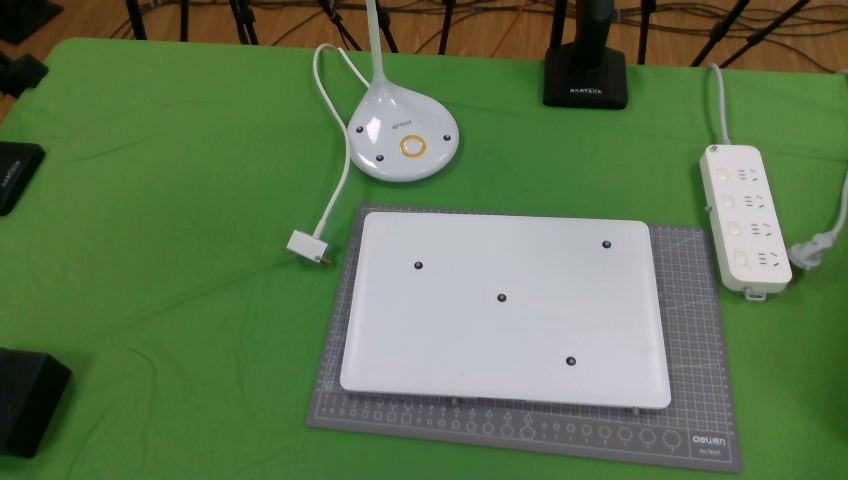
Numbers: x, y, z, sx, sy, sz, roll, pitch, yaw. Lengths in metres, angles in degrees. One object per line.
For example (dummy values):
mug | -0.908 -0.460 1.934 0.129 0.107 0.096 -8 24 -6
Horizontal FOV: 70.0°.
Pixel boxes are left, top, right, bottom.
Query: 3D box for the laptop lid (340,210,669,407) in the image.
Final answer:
laptop lid | 0.091 0.068 0.698 0.356 0.013 0.239 4 60 5

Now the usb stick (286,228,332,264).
usb stick | -0.139 0.009 0.751 0.059 0.021 0.027 29 90 -7

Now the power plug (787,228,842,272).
power plug | 0.463 0.016 0.715 0.073 0.053 0.035 -6 51 -19

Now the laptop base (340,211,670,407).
laptop base | 0.092 0.073 0.710 0.354 0.023 0.233 2 61 4

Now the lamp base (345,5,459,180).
lamp base | -0.042 -0.199 0.795 0.161 0.182 0.177 -29 58 -15

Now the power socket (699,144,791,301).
power socket | 0.395 -0.032 0.754 0.072 0.033 0.225 4 57 4
